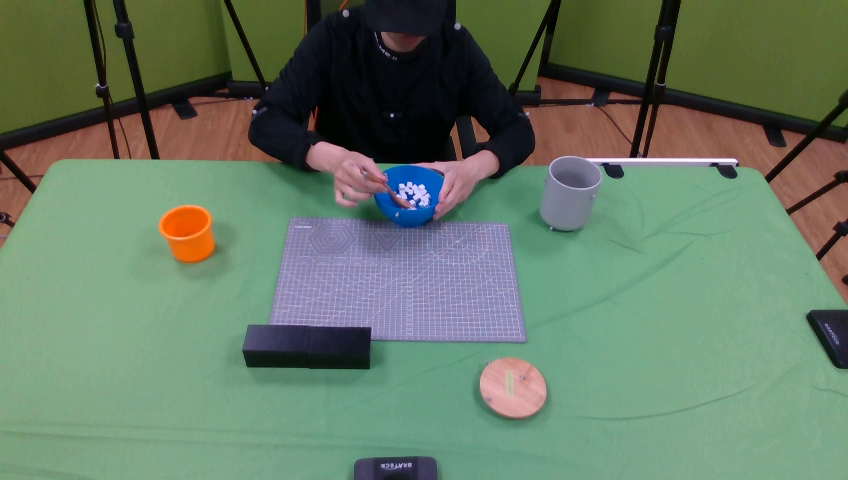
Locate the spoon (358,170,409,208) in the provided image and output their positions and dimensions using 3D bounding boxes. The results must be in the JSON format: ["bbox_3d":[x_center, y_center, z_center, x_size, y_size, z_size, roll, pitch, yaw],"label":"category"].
[{"bbox_3d":[-0.076,-0.098,1.156,0.021,0.195,0.041,-48,62,1],"label":"spoon"}]

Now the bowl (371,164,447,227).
[{"bbox_3d":[-0.032,-0.079,1.229,0.151,0.077,0.150,2,43,-2],"label":"bowl"}]

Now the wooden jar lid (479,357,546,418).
[{"bbox_3d":[0.142,0.240,0.979,0.108,0.021,0.107,1,46,-1],"label":"wooden jar lid"}]

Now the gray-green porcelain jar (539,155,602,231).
[{"bbox_3d":[0.294,-0.091,1.235,0.106,0.127,0.105,2,46,-2],"label":"gray-green porcelain jar"}]
